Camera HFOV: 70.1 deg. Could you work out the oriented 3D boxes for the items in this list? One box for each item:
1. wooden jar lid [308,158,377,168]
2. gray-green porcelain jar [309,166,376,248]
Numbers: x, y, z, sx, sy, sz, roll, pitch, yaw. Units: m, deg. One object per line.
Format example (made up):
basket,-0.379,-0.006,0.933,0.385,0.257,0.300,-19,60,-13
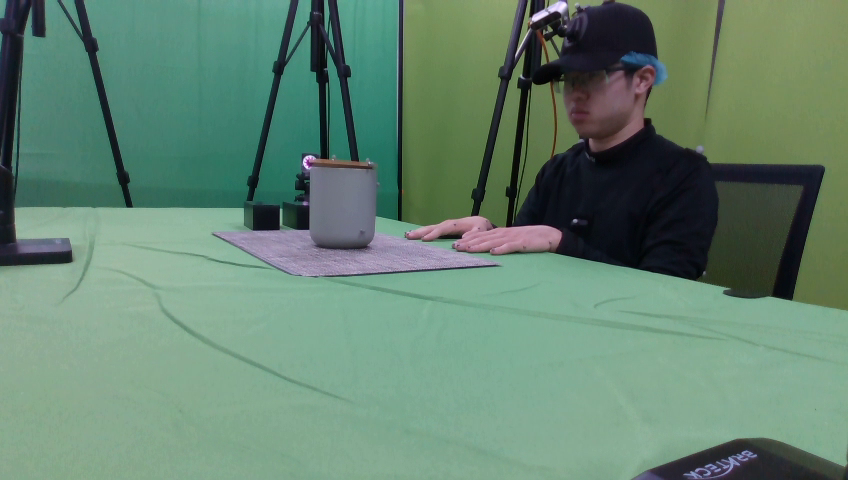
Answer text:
wooden jar lid,-0.128,-0.117,0.956,0.108,0.020,0.108,5,6,0
gray-green porcelain jar,-0.130,-0.054,0.965,0.106,0.126,0.106,2,7,0
